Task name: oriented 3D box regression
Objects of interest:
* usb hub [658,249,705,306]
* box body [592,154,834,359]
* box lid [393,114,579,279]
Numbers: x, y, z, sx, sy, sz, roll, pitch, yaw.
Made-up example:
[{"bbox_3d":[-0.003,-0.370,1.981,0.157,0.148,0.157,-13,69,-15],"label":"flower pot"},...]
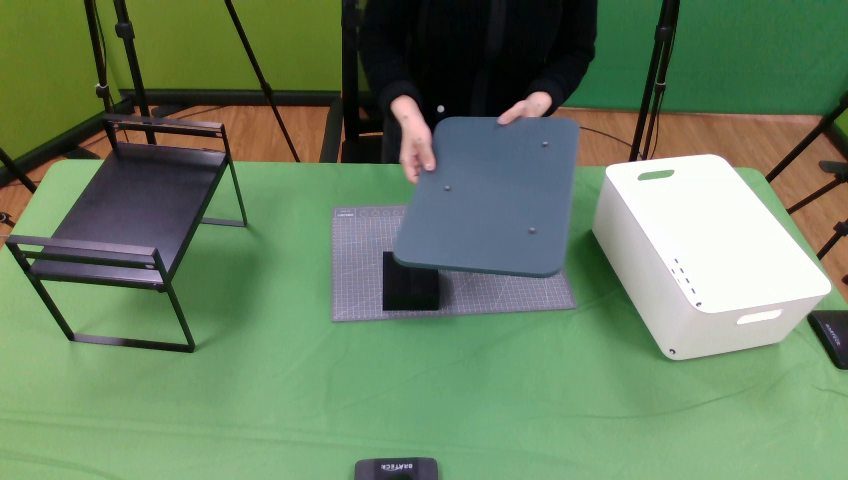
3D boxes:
[{"bbox_3d":[0.481,0.070,1.151,0.049,0.025,0.124,-2,47,-7],"label":"usb hub"},{"bbox_3d":[0.496,0.023,1.112,0.254,0.161,0.361,-8,47,-10],"label":"box body"},{"bbox_3d":[0.113,-0.091,1.001,0.263,0.015,0.369,4,49,15],"label":"box lid"}]
